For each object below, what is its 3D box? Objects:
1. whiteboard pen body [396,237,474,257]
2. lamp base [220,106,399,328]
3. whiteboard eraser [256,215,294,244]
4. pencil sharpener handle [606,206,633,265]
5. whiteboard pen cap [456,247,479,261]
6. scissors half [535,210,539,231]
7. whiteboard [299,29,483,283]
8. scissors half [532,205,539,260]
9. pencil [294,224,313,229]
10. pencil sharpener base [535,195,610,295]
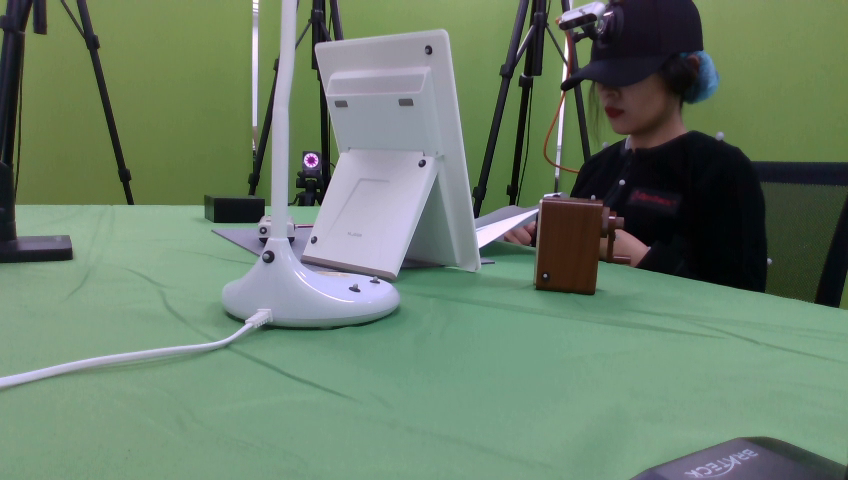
[{"bbox_3d":[0.014,0.012,0.886,0.140,0.017,0.017,9,10,38],"label":"whiteboard pen body"},{"bbox_3d":[-0.101,-0.023,0.531,0.160,0.180,0.179,4,10,10],"label":"lamp base"},{"bbox_3d":[-0.232,-0.016,0.951,0.056,0.042,0.112,2,7,-12],"label":"whiteboard eraser"},{"bbox_3d":[0.222,-0.004,0.683,0.030,0.068,0.036,5,21,16],"label":"pencil sharpener handle"},{"bbox_3d":[0.060,0.020,0.851,0.033,0.018,0.018,10,10,37],"label":"whiteboard pen cap"},{"bbox_3d":[0.209,-0.032,1.086,0.013,0.040,0.176,10,-5,18],"label":"scissors half"},{"bbox_3d":[-0.074,-0.082,0.742,0.216,0.305,0.144,9,30,38],"label":"whiteboard"},{"bbox_3d":[0.202,-0.013,1.079,0.013,0.040,0.175,15,-29,19],"label":"scissors half"},{"bbox_3d":[-0.221,-0.028,1.211,0.195,0.012,0.012,-5,10,-34],"label":"pencil"},{"bbox_3d":[0.172,0.005,0.695,0.076,0.107,0.061,5,7,16],"label":"pencil sharpener base"}]
